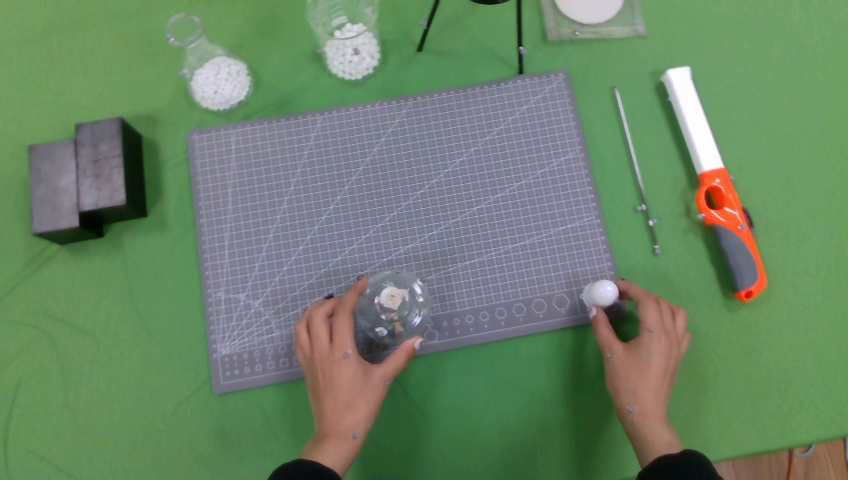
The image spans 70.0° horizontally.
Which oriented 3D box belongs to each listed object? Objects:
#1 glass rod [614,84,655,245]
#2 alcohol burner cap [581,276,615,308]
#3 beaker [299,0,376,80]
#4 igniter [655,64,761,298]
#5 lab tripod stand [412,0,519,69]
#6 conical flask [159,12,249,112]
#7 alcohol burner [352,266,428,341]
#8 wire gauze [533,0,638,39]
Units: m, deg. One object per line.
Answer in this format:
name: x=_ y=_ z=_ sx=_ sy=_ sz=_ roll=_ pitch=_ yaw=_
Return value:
glass rod: x=0.242 y=-0.090 z=0.698 sx=0.008 sy=0.008 sz=0.198 roll=-7 pitch=77 yaw=-2
alcohol burner cap: x=0.187 y=0.053 z=0.646 sx=0.034 sy=0.048 sz=0.033 roll=0 pitch=79 yaw=3
beaker: x=-0.090 y=-0.233 z=0.677 sx=0.084 sy=0.100 sz=0.073 roll=-37 pitch=81 yaw=-8
igniter: x=0.319 y=-0.071 z=0.683 sx=0.057 sy=0.025 sz=0.275 roll=-12 pitch=79 yaw=-13
lab tripod stand: x=0.056 y=-0.264 z=0.667 sx=0.148 sy=0.132 sz=0.148 roll=0 pitch=80 yaw=0
conical flask: x=-0.243 y=-0.196 z=0.656 sx=0.075 sy=0.122 sz=0.075 roll=0 pitch=77 yaw=0
alcohol burner: x=-0.035 y=0.061 z=0.606 sx=0.078 sy=0.119 sz=0.077 roll=0 pitch=76 yaw=-1
wire gauze: x=0.193 y=-0.303 z=0.740 sx=0.125 sy=0.011 sz=0.121 roll=-6 pitch=79 yaw=-3
